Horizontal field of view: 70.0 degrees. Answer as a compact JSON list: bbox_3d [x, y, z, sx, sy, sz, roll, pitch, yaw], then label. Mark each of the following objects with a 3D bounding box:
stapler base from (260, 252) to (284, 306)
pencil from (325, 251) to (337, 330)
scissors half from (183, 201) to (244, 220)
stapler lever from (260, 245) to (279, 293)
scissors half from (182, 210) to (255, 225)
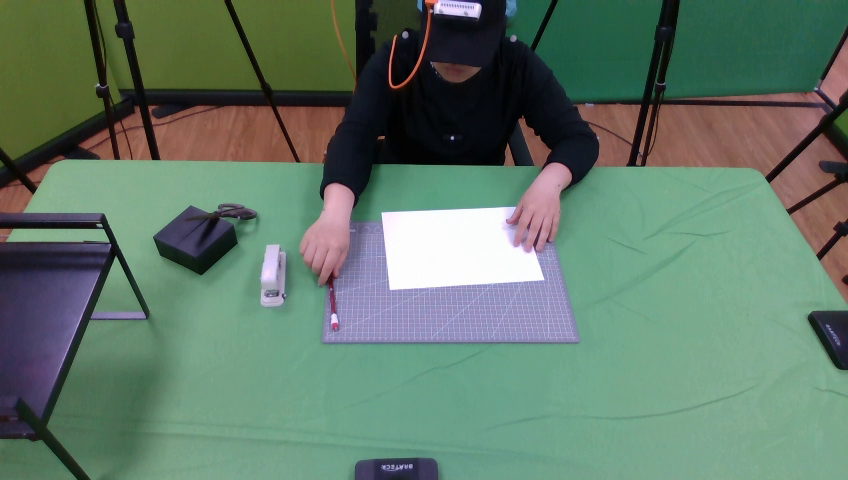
[{"bbox_3d":[-0.279,0.064,1.113,0.041,0.024,0.129,-1,44,-10],"label":"stapler base"},{"bbox_3d":[-0.172,0.086,1.106,0.012,0.012,0.192,-5,45,-9],"label":"pencil"},{"bbox_3d":[-0.405,-0.054,1.163,0.040,0.013,0.175,29,18,7],"label":"scissors half"},{"bbox_3d":[-0.279,0.045,1.096,0.027,0.040,0.117,-1,44,-9],"label":"stapler lever"},{"bbox_3d":[-0.389,-0.042,1.158,0.040,0.013,0.175,41,21,22],"label":"scissors half"}]
